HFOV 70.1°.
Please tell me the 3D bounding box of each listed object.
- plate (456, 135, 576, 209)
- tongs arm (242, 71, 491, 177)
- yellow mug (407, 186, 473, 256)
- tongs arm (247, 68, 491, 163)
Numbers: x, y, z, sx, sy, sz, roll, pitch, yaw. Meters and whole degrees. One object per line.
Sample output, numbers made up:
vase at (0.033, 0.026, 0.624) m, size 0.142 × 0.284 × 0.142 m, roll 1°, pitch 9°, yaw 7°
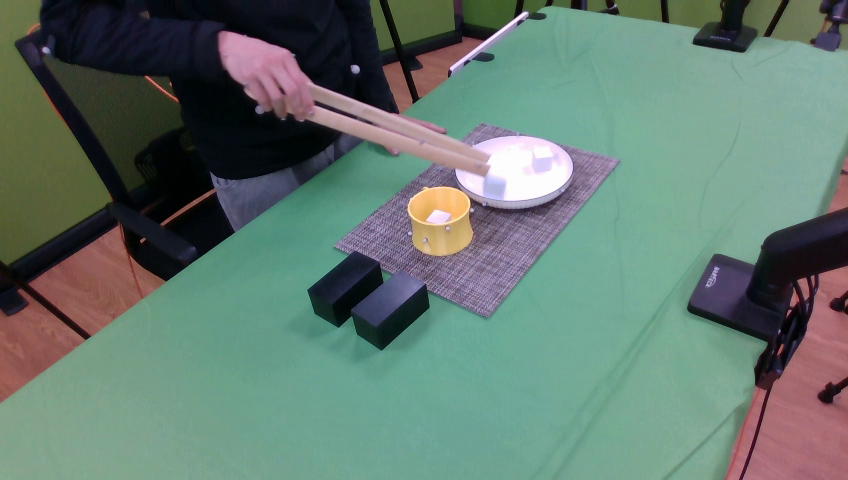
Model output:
plate at (0.161, -0.116, 1.064) m, size 0.207 × 0.039 × 0.206 m, roll -4°, pitch 40°, yaw 4°
tongs arm at (-0.082, -0.171, 0.911) m, size 0.387 × 0.026 × 0.050 m, roll 15°, pitch 42°, yaw -13°
yellow mug at (0.021, -0.041, 0.973) m, size 0.100 × 0.064 × 0.129 m, roll -19°, pitch 41°, yaw -12°
tongs arm at (-0.079, -0.187, 0.929) m, size 0.389 × 0.028 × 0.028 m, roll 18°, pitch 45°, yaw -10°
